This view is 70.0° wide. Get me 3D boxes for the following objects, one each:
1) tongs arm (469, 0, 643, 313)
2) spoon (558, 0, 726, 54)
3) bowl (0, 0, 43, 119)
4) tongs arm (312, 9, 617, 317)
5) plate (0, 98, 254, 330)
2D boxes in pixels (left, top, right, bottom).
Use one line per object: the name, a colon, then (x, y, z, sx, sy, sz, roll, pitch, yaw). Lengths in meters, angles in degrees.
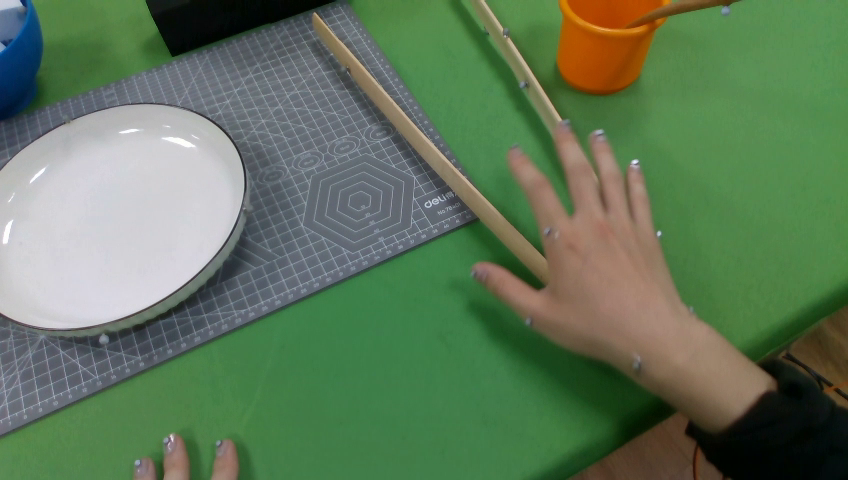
tongs arm: (0.083, -0.113, 0.516, 0.051, 0.027, 0.381, -20, 62, -11)
spoon: (0.179, -0.179, 0.484, 0.041, 0.192, 0.022, -46, 111, -19)
bowl: (-0.405, -0.159, 0.539, 0.151, 0.077, 0.150, -1, 59, 2)
tongs arm: (0.009, -0.079, 0.499, 0.028, 0.028, 0.384, -31, 64, -20)
plate: (-0.233, -0.022, 0.470, 0.207, 0.039, 0.205, -1, 59, 2)
